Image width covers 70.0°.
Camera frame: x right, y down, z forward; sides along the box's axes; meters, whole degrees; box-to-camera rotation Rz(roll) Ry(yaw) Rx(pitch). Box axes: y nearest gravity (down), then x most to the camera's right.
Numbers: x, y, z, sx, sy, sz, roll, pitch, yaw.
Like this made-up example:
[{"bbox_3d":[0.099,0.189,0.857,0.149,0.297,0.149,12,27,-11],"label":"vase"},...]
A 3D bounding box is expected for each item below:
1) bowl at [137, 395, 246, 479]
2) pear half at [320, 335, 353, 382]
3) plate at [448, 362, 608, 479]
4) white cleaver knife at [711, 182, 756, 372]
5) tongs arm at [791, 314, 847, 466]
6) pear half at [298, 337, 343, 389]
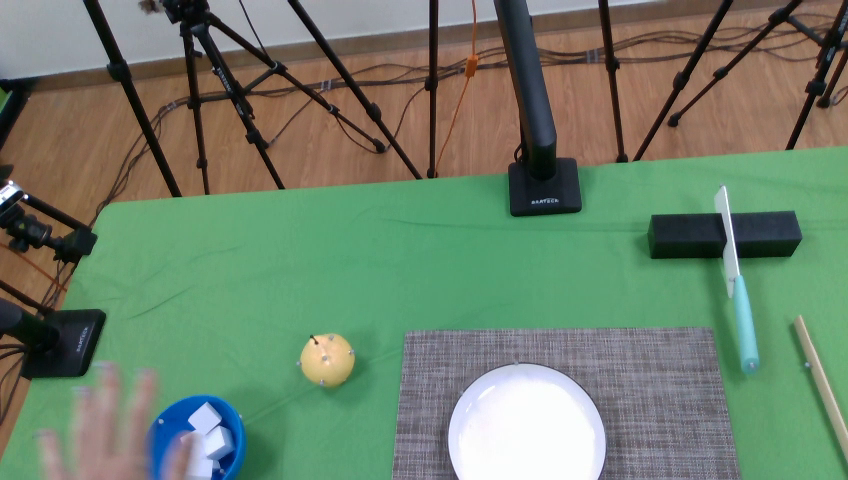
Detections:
[{"bbox_3d":[-0.313,0.305,0.855,0.151,0.077,0.150,-5,56,8],"label":"bowl"},{"bbox_3d":[-0.125,0.170,0.901,0.031,0.089,0.069,-25,46,-5],"label":"pear half"},{"bbox_3d":[0.138,0.267,0.811,0.207,0.039,0.205,-5,56,8],"label":"plate"},{"bbox_3d":[0.445,0.048,0.877,0.021,0.066,0.284,-3,66,15],"label":"white cleaver knife"},{"bbox_3d":[0.534,0.265,0.743,0.028,0.028,0.383,-8,56,4],"label":"tongs arm"},{"bbox_3d":[-0.160,0.177,0.890,0.056,0.111,0.075,-25,45,-6],"label":"pear half"}]
